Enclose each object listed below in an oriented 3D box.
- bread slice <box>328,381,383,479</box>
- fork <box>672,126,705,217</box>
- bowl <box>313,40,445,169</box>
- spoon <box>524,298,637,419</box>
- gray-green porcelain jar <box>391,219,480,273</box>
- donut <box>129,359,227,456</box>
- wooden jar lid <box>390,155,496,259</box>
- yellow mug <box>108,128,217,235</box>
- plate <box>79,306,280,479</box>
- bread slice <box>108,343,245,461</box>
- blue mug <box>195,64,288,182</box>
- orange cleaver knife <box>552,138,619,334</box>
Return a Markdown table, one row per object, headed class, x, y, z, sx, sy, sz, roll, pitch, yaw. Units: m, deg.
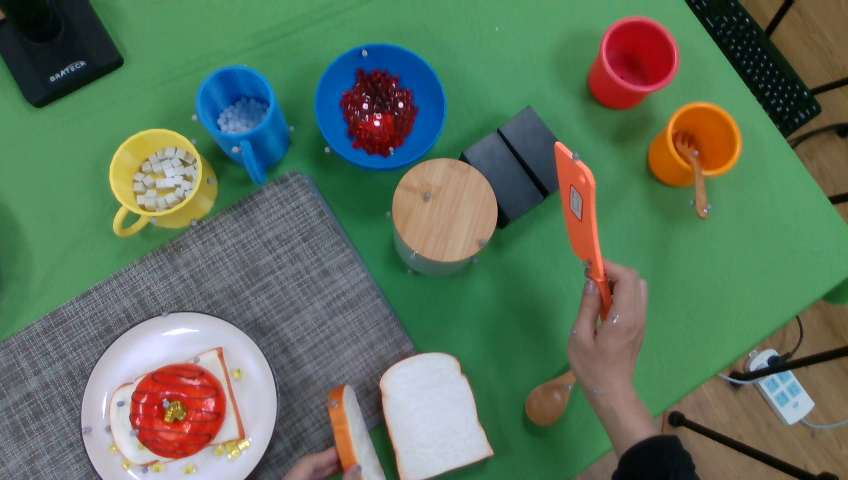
| class | x | y | z | sx | sy | sz | roll | pitch | yaw |
| --- | --- | --- | --- | --- | --- | --- | --- | --- | --- |
| bread slice | -0.071 | 0.216 | 0.643 | 0.018 | 0.107 | 0.133 | -18 | 79 | -2 |
| fork | 0.308 | -0.084 | 0.701 | 0.028 | 0.019 | 0.206 | 31 | 35 | -5 |
| bowl | -0.053 | -0.149 | 0.722 | 0.151 | 0.077 | 0.151 | 1 | 80 | -4 |
| spoon | 0.191 | 0.137 | 0.716 | 0.193 | 0.022 | 0.041 | -43 | 67 | -10 |
| gray-green porcelain jar | 0.016 | -0.020 | 0.679 | 0.106 | 0.127 | 0.105 | 1 | 79 | -4 |
| donut | -0.257 | 0.175 | 0.635 | 0.099 | 0.048 | 0.098 | 1 | 80 | -8 |
| wooden jar lid | 0.019 | -0.033 | 0.617 | 0.108 | 0.021 | 0.108 | 1 | 81 | -7 |
| yellow mug | -0.306 | -0.059 | 0.692 | 0.100 | 0.064 | 0.130 | 36 | 80 | 3 |
| plate | -0.261 | 0.178 | 0.663 | 0.209 | 0.038 | 0.208 | 1 | 80 | -4 |
| bread slice | -0.274 | 0.184 | 0.665 | 0.132 | 0.019 | 0.104 | -19 | 81 | -12 |
| blue mug | -0.202 | -0.124 | 0.692 | 0.082 | 0.106 | 0.116 | -12 | 81 | -6 |
| orange cleaver knife | 0.161 | 0.000 | 0.608 | 0.012 | 0.076 | 0.213 | -23 | 117 | -8 |
